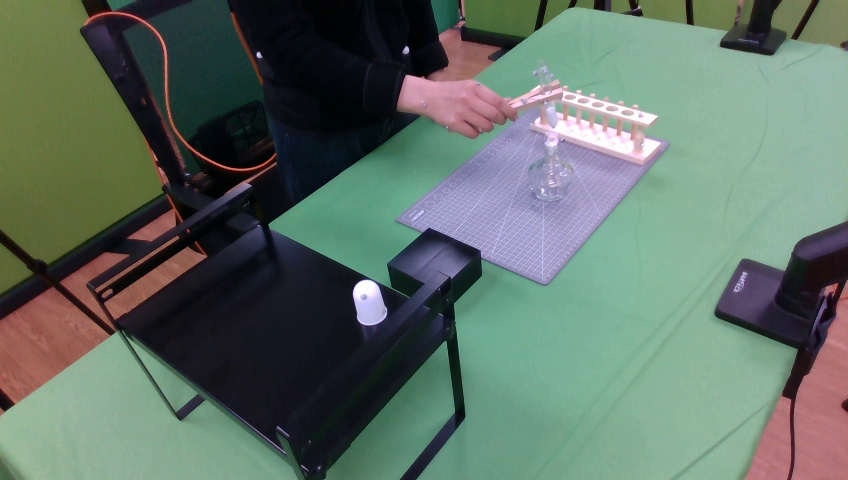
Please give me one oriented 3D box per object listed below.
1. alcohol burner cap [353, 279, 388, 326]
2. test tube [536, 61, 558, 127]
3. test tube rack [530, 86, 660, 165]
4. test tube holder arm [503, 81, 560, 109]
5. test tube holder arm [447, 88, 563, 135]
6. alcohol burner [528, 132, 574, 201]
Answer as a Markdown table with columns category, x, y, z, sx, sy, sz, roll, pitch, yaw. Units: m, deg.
| category | x | y | z | sx | sy | sz | roll | pitch | yaw |
| --- | --- | --- | --- | --- | --- | --- | --- | --- | --- |
| alcohol burner cap | -0.056 | 0.061 | 0.616 | 0.034 | 0.048 | 0.033 | -4 | 41 | 4 |
| test tube | 0.184 | -0.213 | 0.897 | 0.017 | 0.151 | 0.017 | -7 | 65 | 16 |
| test tube rack | 0.320 | -0.226 | 1.140 | 0.240 | 0.085 | 0.067 | 27 | 51 | 34 |
| test tube holder arm | 0.160 | -0.211 | 0.896 | 0.088 | 0.015 | 0.010 | -24 | 57 | 7 |
| test tube holder arm | 0.119 | -0.191 | 0.901 | 0.178 | 0.015 | 0.013 | -18 | 58 | 11 |
| alcohol burner | 0.214 | -0.126 | 1.016 | 0.078 | 0.119 | 0.077 | -5 | 39 | 5 |
